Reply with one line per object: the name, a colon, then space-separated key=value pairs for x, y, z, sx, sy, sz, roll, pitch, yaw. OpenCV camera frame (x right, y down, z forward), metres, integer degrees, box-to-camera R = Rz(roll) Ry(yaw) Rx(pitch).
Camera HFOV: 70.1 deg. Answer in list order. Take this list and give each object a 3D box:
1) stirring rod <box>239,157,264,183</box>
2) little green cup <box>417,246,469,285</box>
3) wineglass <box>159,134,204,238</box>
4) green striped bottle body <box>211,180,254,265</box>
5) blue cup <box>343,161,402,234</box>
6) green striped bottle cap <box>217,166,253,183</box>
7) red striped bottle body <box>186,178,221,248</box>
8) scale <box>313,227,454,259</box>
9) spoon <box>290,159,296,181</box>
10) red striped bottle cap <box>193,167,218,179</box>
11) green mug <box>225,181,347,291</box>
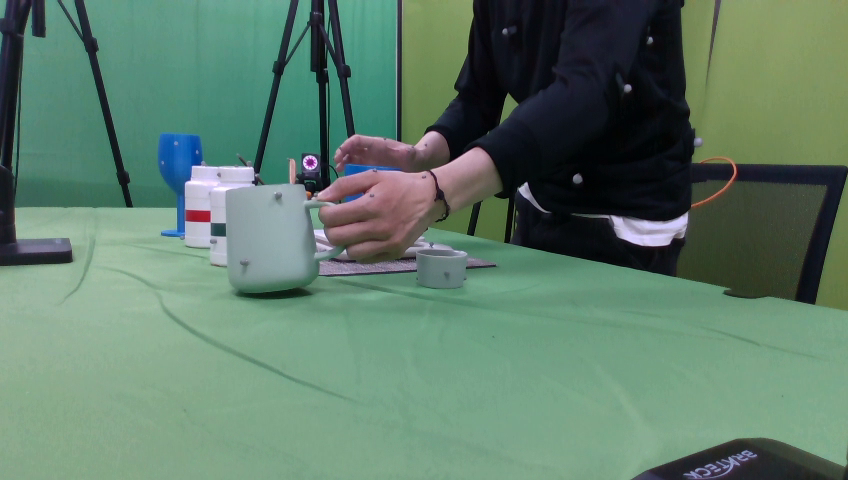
stirring rod: x=-0.309 y=-0.098 z=1.209 sx=0.006 sy=0.177 sz=0.014 roll=-38 pitch=29 yaw=-3
little green cup: x=0.021 y=0.029 z=0.701 sx=0.061 sy=0.038 sz=0.061 roll=1 pitch=6 yaw=0
wineglass: x=-0.415 y=-0.093 z=1.039 sx=0.074 sy=0.172 sz=0.073 roll=2 pitch=7 yaw=0
green striped bottle body: x=-0.243 y=-0.029 z=0.784 sx=0.063 sy=0.119 sz=0.063 roll=2 pitch=7 yaw=0
blue cup: x=-0.078 y=-0.062 z=0.884 sx=0.093 sy=0.100 sz=0.092 roll=4 pitch=6 yaw=0
green striped bottle cap: x=-0.242 y=-0.085 z=0.777 sx=0.044 sy=0.020 sz=0.044 roll=2 pitch=8 yaw=0
red striped bottle body: x=-0.331 y=-0.050 z=0.927 sx=0.063 sy=0.119 sz=0.063 roll=2 pitch=6 yaw=0
scale: x=-0.066 y=0.001 z=0.906 sx=0.202 sy=0.031 sz=0.148 roll=-2 pitch=8 yaw=-31
spoon: x=-0.273 y=-0.102 z=1.252 sx=0.042 sy=0.193 sz=0.021 roll=7 pitch=-38 yaw=-17
red striped bottle cap: x=-0.329 y=-0.103 z=0.921 sx=0.044 sy=0.017 sz=0.044 roll=-1 pitch=9 yaw=1
green mug: x=-0.141 y=-0.006 z=0.621 sx=0.125 sy=0.105 sz=0.092 roll=-6 pitch=2 yaw=5
